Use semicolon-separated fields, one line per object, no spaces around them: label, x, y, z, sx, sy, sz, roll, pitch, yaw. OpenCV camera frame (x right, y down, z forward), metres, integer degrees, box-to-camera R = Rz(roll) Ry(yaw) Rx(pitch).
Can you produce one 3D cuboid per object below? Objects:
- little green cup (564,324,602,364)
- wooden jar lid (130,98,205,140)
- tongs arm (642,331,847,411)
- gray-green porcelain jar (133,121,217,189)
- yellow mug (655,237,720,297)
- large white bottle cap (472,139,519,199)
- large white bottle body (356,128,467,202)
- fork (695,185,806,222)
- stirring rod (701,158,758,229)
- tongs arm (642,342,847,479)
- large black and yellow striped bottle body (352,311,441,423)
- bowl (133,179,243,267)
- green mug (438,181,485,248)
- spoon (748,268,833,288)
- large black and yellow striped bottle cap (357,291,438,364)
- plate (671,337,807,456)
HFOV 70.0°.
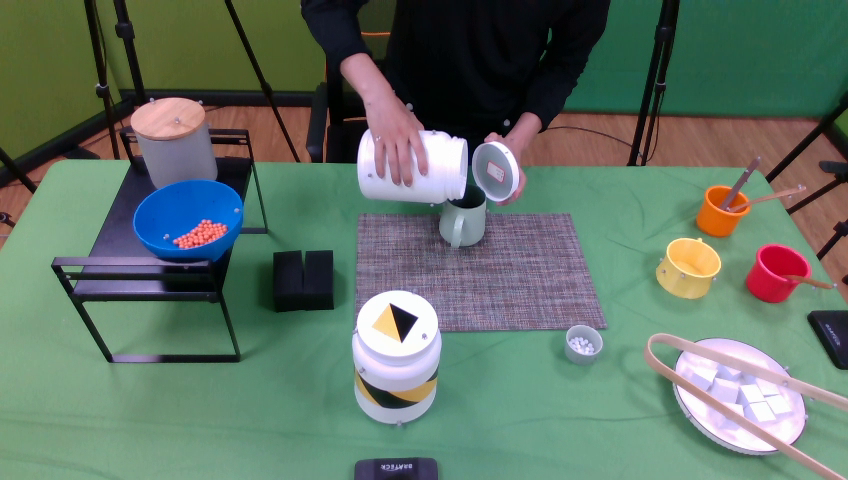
little green cup;0.269;0.179;1.035;0.061;0.039;0.061;2;46;-2
wooden jar lid;-0.393;-0.183;0.934;0.108;0.021;0.107;3;44;-2
tongs arm;0.546;0.227;0.968;0.384;0.026;0.050;22;52;13
gray-green porcelain jar;-0.397;-0.141;0.980;0.106;0.127;0.105;2;47;-2
yellow mug;0.509;0.041;1.167;0.099;0.064;0.130;24;48;18
large white bottle cap;0.134;-0.134;1.147;0.018;0.115;0.114;-21;51;-32
large white bottle body;-0.019;-0.135;1.100;0.184;0.131;0.130;3;46;11
fork;0.658;-0.074;1.230;0.207;0.019;0.028;-23;36;37
stirring rod;0.634;-0.096;1.257;0.014;0.006;0.176;38;97;29
tongs arm;0.504;0.278;0.918;0.386;0.028;0.028;34;59;22
large black and yellow striped bottle body;-0.042;0.178;0.913;0.131;0.185;0.130;2;46;-2
bowl;-0.339;-0.013;0.895;0.151;0.077;0.150;2;46;-2
green mug;0.072;-0.039;1.178;0.092;0.105;0.124;12;47;7
spoon;0.660;0.068;1.097;0.041;0.193;0.021;-4;91;-6
large black and yellow striped bottle cap;-0.037;0.121;0.851;0.115;0.019;0.114;2;46;-1
plate;0.504;0.254;0.984;0.208;0.039;0.206;2;46;-2
